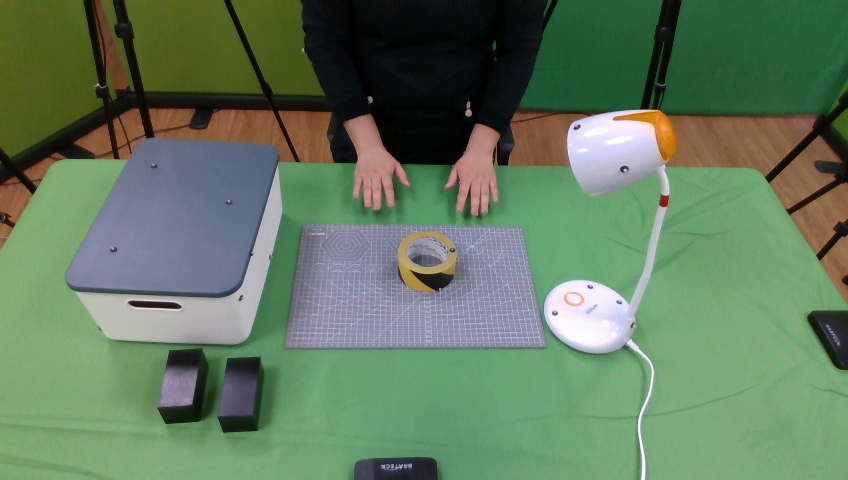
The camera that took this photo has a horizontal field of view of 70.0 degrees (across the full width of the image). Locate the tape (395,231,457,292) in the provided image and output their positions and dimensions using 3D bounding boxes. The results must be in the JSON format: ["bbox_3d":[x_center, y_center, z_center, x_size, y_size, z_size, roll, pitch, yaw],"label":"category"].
[{"bbox_3d":[0.005,0.039,1.136,0.117,0.053,0.116,2,46,-1],"label":"tape"}]

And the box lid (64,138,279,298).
[{"bbox_3d":[-0.404,-0.051,1.016,0.263,0.015,0.369,3,46,-2],"label":"box lid"}]

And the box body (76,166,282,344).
[{"bbox_3d":[-0.406,-0.002,1.071,0.254,0.161,0.361,2,46,-2],"label":"box body"}]

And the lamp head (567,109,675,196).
[{"bbox_3d":[0.272,-0.123,0.818,0.122,0.113,0.112,-9,35,37],"label":"lamp head"}]

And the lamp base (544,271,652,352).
[{"bbox_3d":[0.310,0.086,1.029,0.178,0.181,0.160,32,52,21],"label":"lamp base"}]
